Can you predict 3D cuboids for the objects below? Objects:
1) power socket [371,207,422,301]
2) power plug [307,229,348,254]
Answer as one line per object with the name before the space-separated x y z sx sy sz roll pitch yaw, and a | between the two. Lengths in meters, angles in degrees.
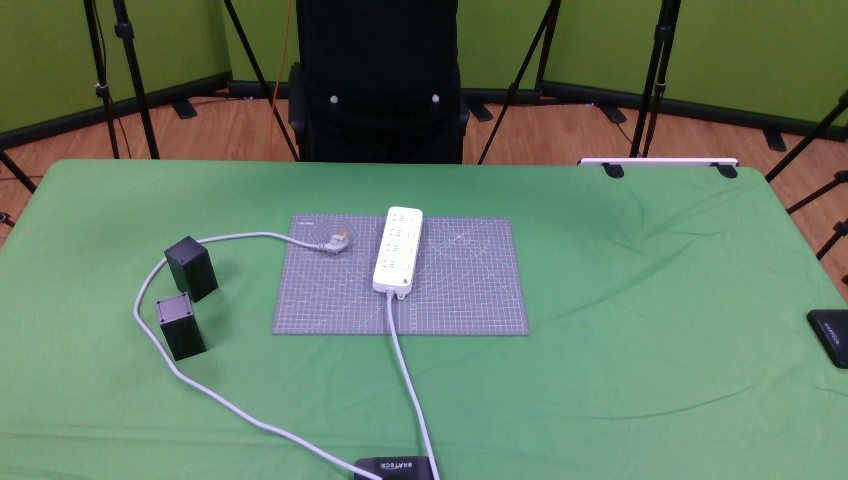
power socket | -0.051 0.018 1.165 0.072 0.033 0.225 6 46 3
power plug | -0.183 -0.002 1.167 0.072 0.035 0.052 16 65 -4
